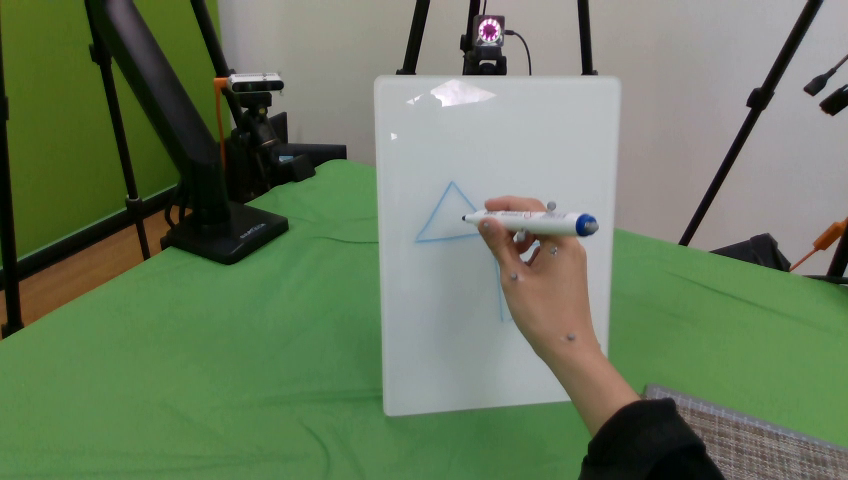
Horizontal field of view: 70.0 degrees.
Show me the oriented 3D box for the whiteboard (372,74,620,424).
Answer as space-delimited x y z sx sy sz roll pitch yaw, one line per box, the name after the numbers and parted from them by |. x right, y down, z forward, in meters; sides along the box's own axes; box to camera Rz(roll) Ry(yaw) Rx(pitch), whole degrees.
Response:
0.057 -0.001 0.601 0.218 0.306 0.143 -3 12 -9 | whiteboard

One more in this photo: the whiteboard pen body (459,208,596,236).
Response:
0.067 -0.014 0.437 0.017 0.017 0.140 -17 12 -30 | whiteboard pen body
